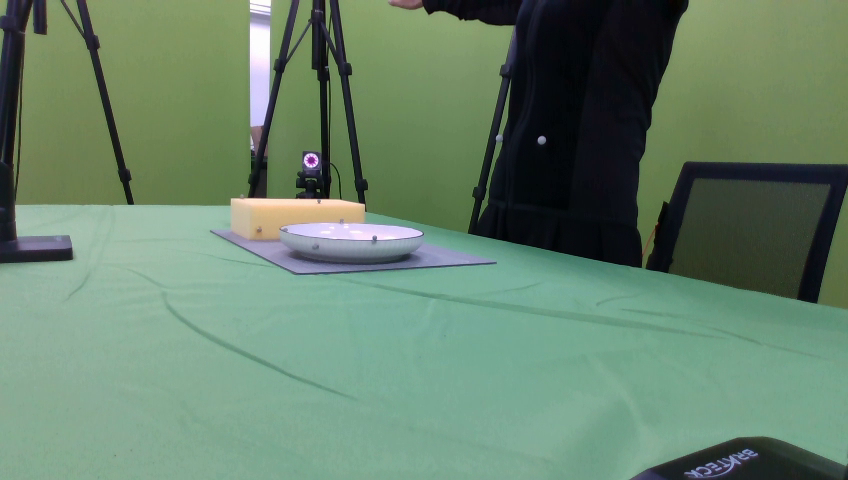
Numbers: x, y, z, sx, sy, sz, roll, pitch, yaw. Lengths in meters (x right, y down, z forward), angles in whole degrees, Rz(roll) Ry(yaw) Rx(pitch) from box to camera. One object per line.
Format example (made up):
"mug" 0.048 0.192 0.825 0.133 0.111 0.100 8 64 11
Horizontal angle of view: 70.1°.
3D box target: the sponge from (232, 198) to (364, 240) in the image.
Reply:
"sponge" -0.223 -0.040 1.071 0.208 0.061 0.117 -3 9 -33

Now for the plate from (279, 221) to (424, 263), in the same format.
"plate" -0.103 0.003 0.871 0.209 0.038 0.209 2 7 0
